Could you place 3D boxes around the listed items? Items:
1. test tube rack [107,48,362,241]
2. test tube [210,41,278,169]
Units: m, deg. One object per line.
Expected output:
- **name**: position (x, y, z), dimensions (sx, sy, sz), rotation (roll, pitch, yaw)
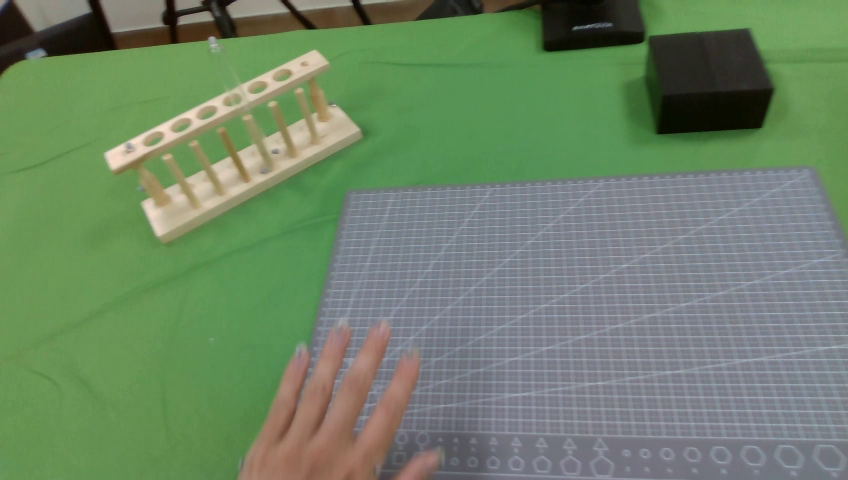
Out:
- **test tube rack**: position (-0.194, -0.105, 0.647), dimensions (0.242, 0.086, 0.066), rotation (-31, 52, -14)
- **test tube**: position (-0.177, -0.130, 0.605), dimensions (0.017, 0.152, 0.017), rotation (-5, 49, 7)
